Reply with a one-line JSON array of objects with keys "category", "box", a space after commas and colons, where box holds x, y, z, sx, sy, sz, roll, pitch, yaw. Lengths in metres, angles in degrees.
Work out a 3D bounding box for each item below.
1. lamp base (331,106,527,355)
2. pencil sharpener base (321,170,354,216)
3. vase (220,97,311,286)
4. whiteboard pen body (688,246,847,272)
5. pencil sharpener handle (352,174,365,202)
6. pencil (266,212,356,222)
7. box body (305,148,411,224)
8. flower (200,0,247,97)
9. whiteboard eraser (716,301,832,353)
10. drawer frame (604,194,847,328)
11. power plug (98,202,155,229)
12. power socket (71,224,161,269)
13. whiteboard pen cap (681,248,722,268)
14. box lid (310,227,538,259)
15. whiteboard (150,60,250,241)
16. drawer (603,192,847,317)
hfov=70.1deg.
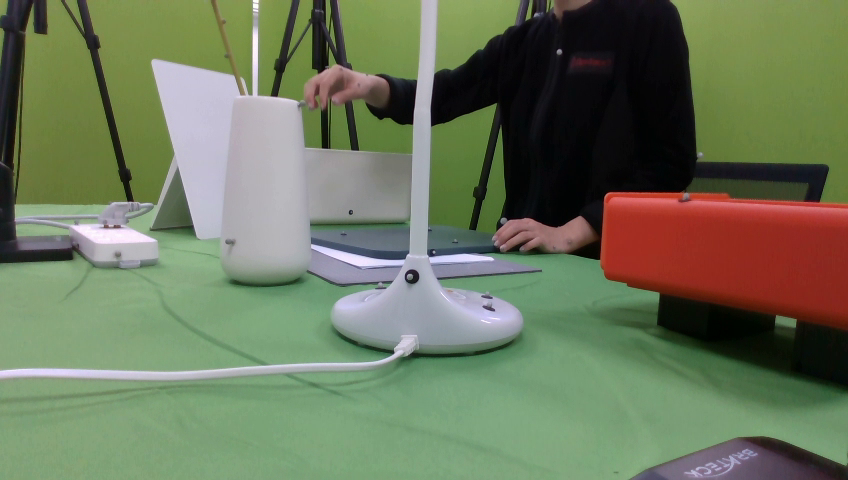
[{"category": "lamp base", "box": [0.006, -0.012, 0.478, 0.161, 0.180, 0.179, 2, 10, 2]}, {"category": "pencil sharpener base", "box": [-0.206, -0.112, 1.437, 0.077, 0.107, 0.061, 1, 6, -11]}, {"category": "vase", "box": [-0.172, -0.052, 0.662, 0.098, 0.200, 0.098, 3, 9, 0]}, {"category": "whiteboard pen body", "box": [0.303, 0.016, 0.519, 0.140, 0.017, 0.017, 4, 8, 25]}, {"category": "pencil sharpener handle", "box": [-0.156, -0.124, 1.449, 0.031, 0.068, 0.036, 1, 17, -10]}, {"category": "pencil", "box": [-0.244, -0.049, 1.319, 0.195, 0.012, 0.012, 4, 7, -12]}, {"category": "box body", "box": [-0.230, -0.126, 1.371, 0.366, 0.160, 0.253, -2, 8, -33]}, {"category": "flower", "box": [-0.187, -0.133, 0.648, 0.038, 0.362, 0.044, 0, 21, 42]}, {"category": "whiteboard eraser", "box": [0.256, 0.042, 0.472, 0.112, 0.042, 0.056, 43, 19, 30]}, {"category": "drawer frame", "box": [0.298, 0.007, 0.497, 0.203, 0.082, 0.212, -1, 7, -34]}, {"category": "power plug", "box": [-0.416, -0.027, 0.848, 0.073, 0.052, 0.035, 0, 8, -28]}, {"category": "power socket", "box": [-0.408, 0.004, 0.793, 0.072, 0.032, 0.225, -2, 8, -38]}, {"category": "whiteboard pen cap", "box": [0.250, 0.017, 0.544, 0.033, 0.018, 0.018, 2, 7, 25]}, {"category": "box lid", "box": [-0.010, 0.001, 1.036, 0.374, 0.015, 0.262, -3, 9, -44]}, {"category": "whiteboard", "box": [-0.408, -0.139, 1.093, 0.143, 0.305, 0.218, -15, -1, 26]}, {"category": "drawer", "box": [0.293, 0.002, 0.500, 0.195, 0.073, 0.210, -1, 8, -34]}]
